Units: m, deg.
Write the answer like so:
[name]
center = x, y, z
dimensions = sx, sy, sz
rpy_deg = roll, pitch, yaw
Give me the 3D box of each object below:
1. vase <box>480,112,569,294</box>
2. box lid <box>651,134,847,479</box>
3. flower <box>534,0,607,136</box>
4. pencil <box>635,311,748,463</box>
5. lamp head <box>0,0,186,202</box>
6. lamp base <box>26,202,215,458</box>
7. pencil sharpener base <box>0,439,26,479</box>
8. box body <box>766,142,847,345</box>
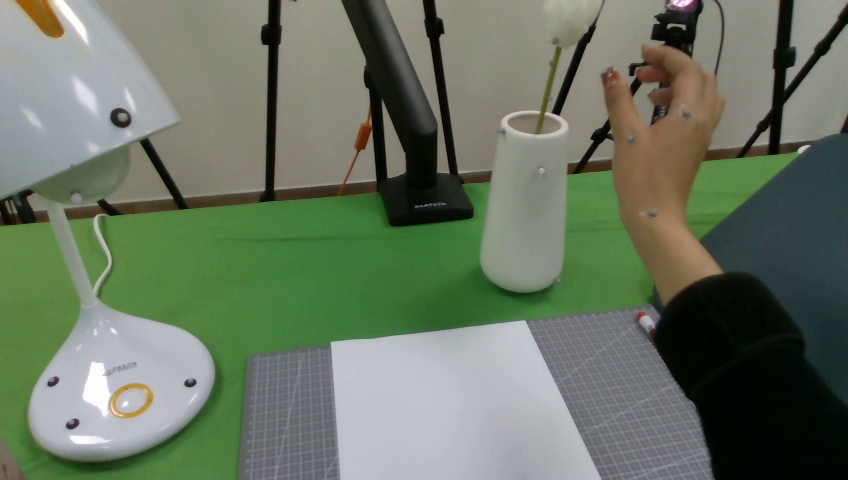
[vase]
center = 0.114, -0.038, 0.678
dimensions = 0.098, 0.201, 0.097
rpy_deg = -1, 33, 1
[box lid]
center = 0.382, 0.071, 0.524
dimensions = 0.015, 0.263, 0.367
rpy_deg = 35, 20, -30
[flower]
center = 0.112, -0.094, 0.614
dimensions = 0.044, 0.364, 0.038
rpy_deg = 30, 56, 17
[pencil]
center = 0.254, 0.135, 0.588
dimensions = 0.012, 0.012, 0.192
rpy_deg = -6, 35, -10
[lamp head]
center = -0.215, -0.096, 0.339
dimensions = 0.112, 0.123, 0.112
rpy_deg = -25, 14, 7
[lamp base]
center = -0.288, 0.067, 0.531
dimensions = 0.161, 0.182, 0.177
rpy_deg = -26, 40, -34
[pencil sharpener base]
center = -0.318, 0.190, 0.411
dimensions = 0.077, 0.108, 0.060
rpy_deg = -19, 39, -25
[box body]
center = 0.559, 0.048, 0.589
dimensions = 0.255, 0.162, 0.360
rpy_deg = -6, 34, -9
